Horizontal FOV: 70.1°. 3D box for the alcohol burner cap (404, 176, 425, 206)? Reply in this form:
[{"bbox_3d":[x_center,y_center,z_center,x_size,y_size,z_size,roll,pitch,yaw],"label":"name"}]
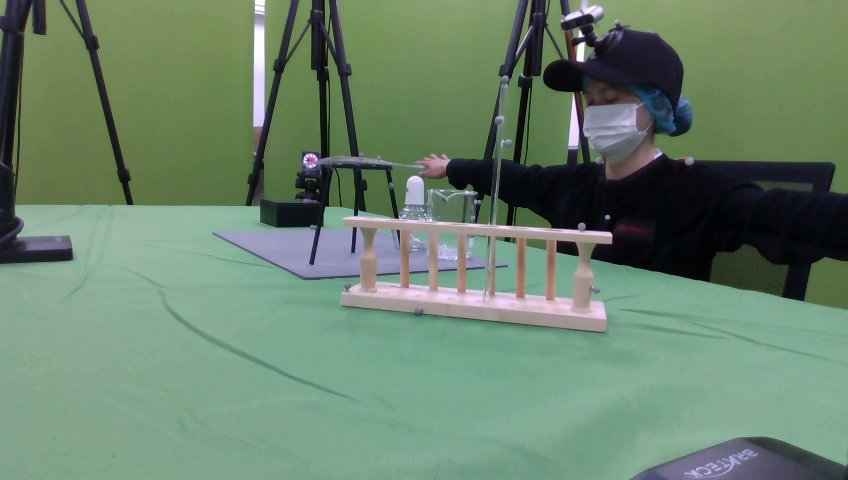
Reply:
[{"bbox_3d":[-0.015,-0.077,0.951,0.034,0.048,0.034,3,4,0],"label":"alcohol burner cap"}]

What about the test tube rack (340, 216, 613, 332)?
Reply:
[{"bbox_3d":[0.048,0.026,0.568,0.242,0.085,0.067,4,8,13],"label":"test tube rack"}]

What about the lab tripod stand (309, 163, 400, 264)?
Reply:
[{"bbox_3d":[-0.091,-0.037,0.813,0.148,0.131,0.148,1,6,0],"label":"lab tripod stand"}]

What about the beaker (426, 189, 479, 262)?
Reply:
[{"bbox_3d":[0.039,-0.022,0.871,0.074,0.100,0.084,4,8,12],"label":"beaker"}]

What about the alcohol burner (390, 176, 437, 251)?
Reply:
[{"bbox_3d":[-0.016,-0.042,0.955,0.078,0.119,0.078,4,5,0],"label":"alcohol burner"}]

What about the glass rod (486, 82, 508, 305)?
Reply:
[{"bbox_3d":[0.064,-0.035,0.528,0.008,0.199,0.008,2,13,0],"label":"glass rod"}]

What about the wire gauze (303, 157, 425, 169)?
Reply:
[{"bbox_3d":[-0.082,-0.102,0.799,0.126,0.011,0.121,-1,7,-30],"label":"wire gauze"}]
